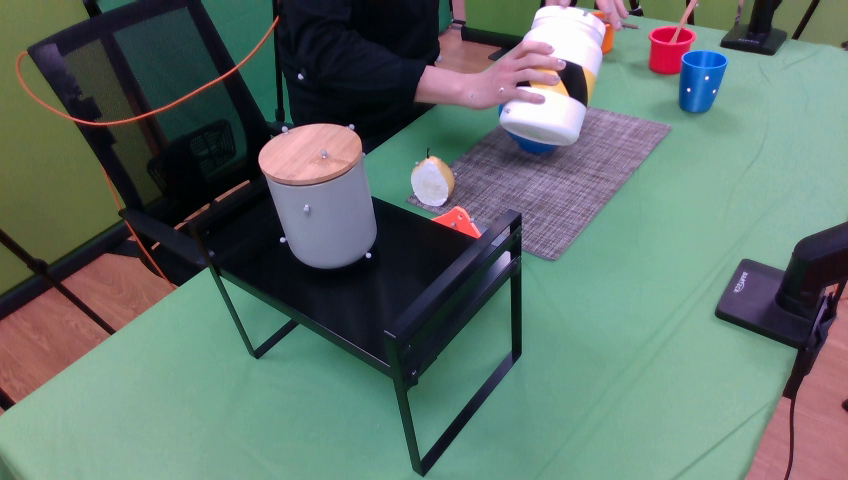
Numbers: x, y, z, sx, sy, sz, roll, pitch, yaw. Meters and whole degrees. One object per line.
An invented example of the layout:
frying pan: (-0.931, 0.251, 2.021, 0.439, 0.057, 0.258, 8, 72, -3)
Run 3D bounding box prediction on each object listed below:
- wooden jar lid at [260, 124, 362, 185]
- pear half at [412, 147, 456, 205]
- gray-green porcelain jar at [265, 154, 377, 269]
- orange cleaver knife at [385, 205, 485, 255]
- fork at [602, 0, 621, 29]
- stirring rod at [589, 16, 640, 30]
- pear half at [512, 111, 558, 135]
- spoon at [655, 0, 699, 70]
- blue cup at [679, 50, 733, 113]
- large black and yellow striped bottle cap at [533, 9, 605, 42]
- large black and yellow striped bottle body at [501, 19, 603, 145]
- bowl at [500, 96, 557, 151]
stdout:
wooden jar lid: (-0.119, -0.088, 0.645, 0.108, 0.021, 0.108, -4, 40, 4)
pear half: (0.019, -0.120, 1.042, 0.076, 0.110, 0.056, 11, 44, 16)
gray-green porcelain jar: (-0.112, -0.039, 0.685, 0.106, 0.127, 0.105, -4, 40, 4)
orange cleaver knife: (0.012, -0.010, 0.942, 0.012, 0.077, 0.210, -36, 19, -35)
fork: (0.446, -0.539, 1.438, 0.207, 0.019, 0.028, -57, 35, 12)
stirring rod: (0.419, -0.508, 1.404, 0.174, 0.006, 0.014, 29, 54, 35)
pear half: (0.212, -0.227, 1.153, 0.088, 0.031, 0.070, 7, 45, 11)
spoon: (0.567, -0.463, 1.337, 0.041, 0.022, 0.193, 29, 96, 38)
blue cup: (0.546, -0.309, 1.193, 0.092, 0.100, 0.092, -4, 39, 3)
large black and yellow striped bottle cap: (0.234, -0.340, 0.975, 0.115, 0.019, 0.115, 16, 3, 0)
large black and yellow striped bottle body: (0.210, -0.259, 0.976, 0.131, 0.184, 0.131, 16, 2, 0)
bowl: (0.220, -0.223, 1.155, 0.151, 0.077, 0.150, -4, 40, 4)
